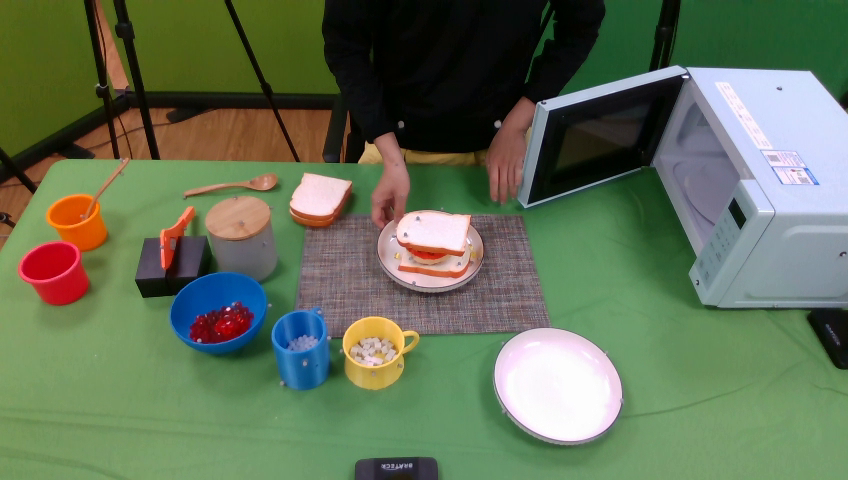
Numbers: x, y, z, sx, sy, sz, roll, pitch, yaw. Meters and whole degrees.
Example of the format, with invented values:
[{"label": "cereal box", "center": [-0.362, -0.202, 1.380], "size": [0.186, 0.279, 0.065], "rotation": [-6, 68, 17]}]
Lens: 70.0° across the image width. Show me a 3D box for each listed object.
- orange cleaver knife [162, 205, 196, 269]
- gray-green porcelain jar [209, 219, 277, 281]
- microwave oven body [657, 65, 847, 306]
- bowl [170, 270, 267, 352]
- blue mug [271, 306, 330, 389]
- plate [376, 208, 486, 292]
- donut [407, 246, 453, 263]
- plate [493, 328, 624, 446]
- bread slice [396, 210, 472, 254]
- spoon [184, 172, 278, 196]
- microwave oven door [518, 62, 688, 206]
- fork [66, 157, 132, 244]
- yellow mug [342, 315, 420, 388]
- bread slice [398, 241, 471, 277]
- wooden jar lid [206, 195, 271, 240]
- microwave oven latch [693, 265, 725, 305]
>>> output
[{"label": "orange cleaver knife", "center": [-0.454, -0.010, 1.129], "size": [0.012, 0.077, 0.210], "rotation": [-2, 20, -5]}, {"label": "gray-green porcelain jar", "center": [-0.323, 0.007, 1.092], "size": [0.106, 0.127, 0.105], "rotation": [2, 46, -2]}, {"label": "microwave oven body", "center": [0.669, -0.111, 1.176], "size": [0.326, 0.261, 0.439], "rotation": [0, 46, -3]}, {"label": "bowl", "center": [-0.333, 0.132, 1.006], "size": [0.151, 0.077, 0.150], "rotation": [2, 46, -2]}, {"label": "blue mug", "center": [-0.188, 0.163, 0.969], "size": [0.082, 0.106, 0.116], "rotation": [15, 47, 10]}, {"label": "plate", "center": [0.012, 0.021, 1.158], "size": [0.209, 0.038, 0.208], "rotation": [2, 46, -2]}, {"label": "donut", "center": [0.014, 0.002, 1.139], "size": [0.099, 0.048, 0.098], "rotation": [2, 47, -2]}, {"label": "plate", "center": [0.213, 0.236, 0.974], "size": [0.208, 0.039, 0.206], "rotation": [2, 46, -2]}, {"label": "bread slice", "center": [0.017, -0.016, 1.113], "size": [0.134, 0.018, 0.106], "rotation": [3, 40, 6]}, {"label": "spoon", "center": [-0.405, -0.117, 1.274], "size": [0.194, 0.022, 0.041], "rotation": [-8, 65, -12]}, {"label": "microwave oven door", "center": [0.368, -0.219, 1.250], "size": [0.356, 0.245, 0.039], "rotation": [-19, 51, -20]}, {"label": "fork", "center": [-0.608, -0.074, 1.133], "size": [0.207, 0.019, 0.028], "rotation": [-52, 48, 10]}, {"label": "yellow mug", "center": [-0.067, 0.177, 0.990], "size": [0.131, 0.064, 0.099], "rotation": [-16, 50, -19]}, {"label": "bread slice", "center": [0.025, 0.023, 1.158], "size": [0.131, 0.019, 0.104], "rotation": [9, 47, 4]}, {"label": "wooden jar lid", "center": [-0.319, -0.036, 1.046], "size": [0.108, 0.021, 0.107], "rotation": [1, 44, 0]}, {"label": "microwave oven latch", "center": [0.523, 0.082, 1.115], "size": [0.030, 0.029, 0.078], "rotation": [2, 46, -1]}]
